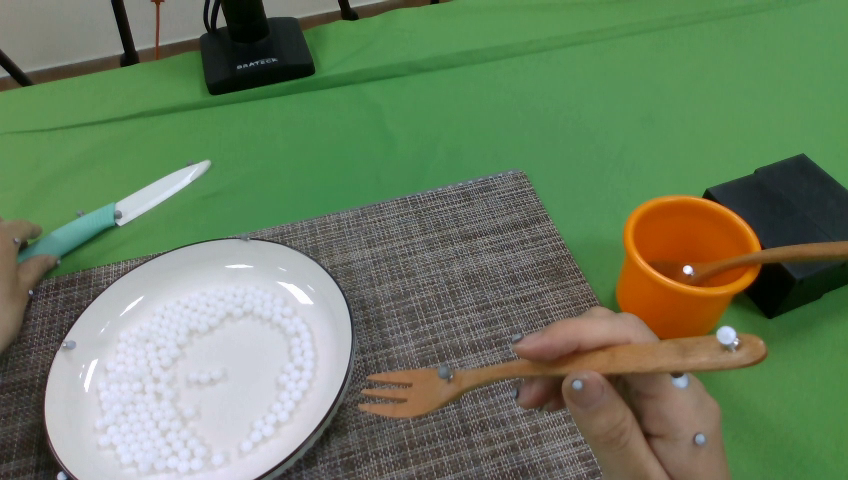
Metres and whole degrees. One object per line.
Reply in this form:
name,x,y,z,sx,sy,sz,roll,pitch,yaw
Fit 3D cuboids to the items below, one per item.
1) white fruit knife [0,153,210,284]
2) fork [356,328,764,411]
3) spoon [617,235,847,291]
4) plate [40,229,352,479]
white fruit knife,-0.283,-0.029,0.546,0.207,0.016,0.027,-37,82,-30
fork,0.039,0.058,0.271,0.207,0.019,0.028,-20,41,43
spoon,0.214,0.012,0.405,0.041,0.193,0.022,-45,105,-32
plate,-0.152,0.082,0.428,0.209,0.038,0.207,-1,50,2
